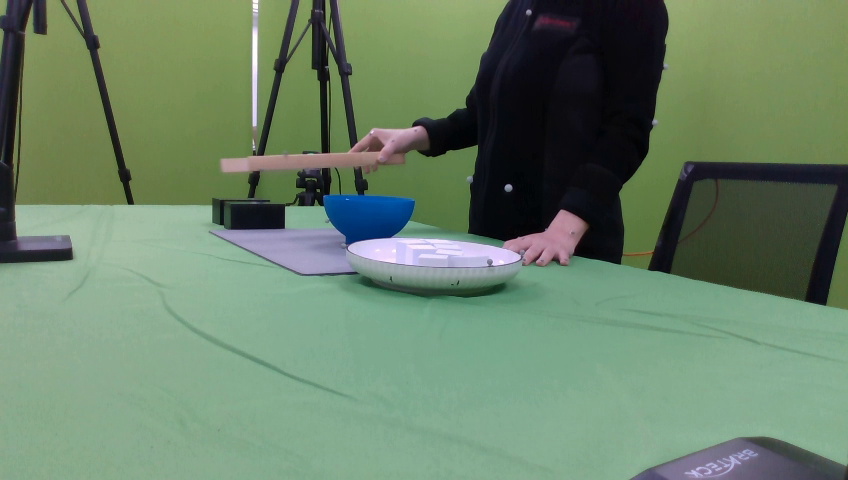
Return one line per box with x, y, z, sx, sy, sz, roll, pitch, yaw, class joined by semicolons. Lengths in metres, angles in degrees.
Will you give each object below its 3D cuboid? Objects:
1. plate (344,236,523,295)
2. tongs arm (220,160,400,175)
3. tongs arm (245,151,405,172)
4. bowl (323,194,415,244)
0.010;0.030;0.707;0.208;0.039;0.207;3;8;0;plate
-0.212;-0.154;1.203;0.390;0.028;0.028;-9;3;-38;tongs arm
-0.175;-0.153;1.164;0.387;0.026;0.050;-11;7;-43;tongs arm
-0.091;-0.032;0.986;0.151;0.077;0.151;2;7;0;bowl
